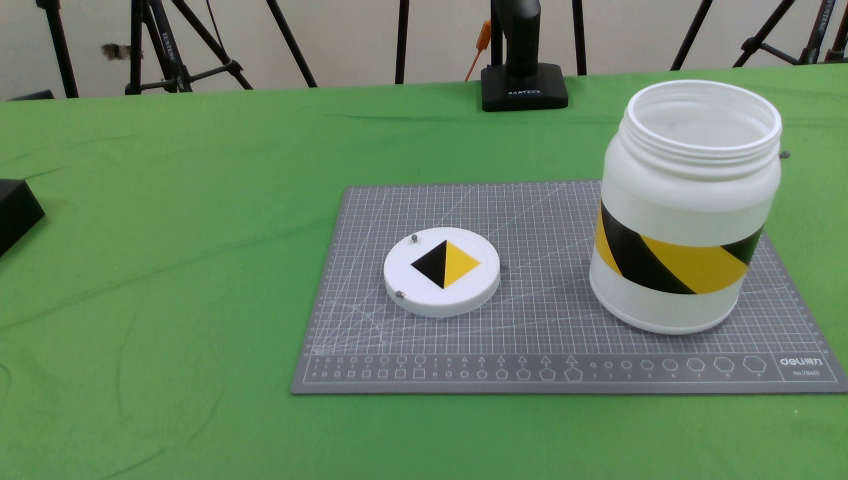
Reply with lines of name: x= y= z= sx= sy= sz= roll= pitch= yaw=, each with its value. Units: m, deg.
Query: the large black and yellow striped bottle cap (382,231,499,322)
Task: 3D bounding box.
large black and yellow striped bottle cap: x=0.016 y=0.032 z=0.596 sx=0.115 sy=0.019 sz=0.114 roll=-2 pitch=41 yaw=2

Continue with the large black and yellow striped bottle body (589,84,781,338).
large black and yellow striped bottle body: x=0.213 y=-0.023 z=0.509 sx=0.131 sy=0.186 sz=0.129 roll=-3 pitch=40 yaw=3
